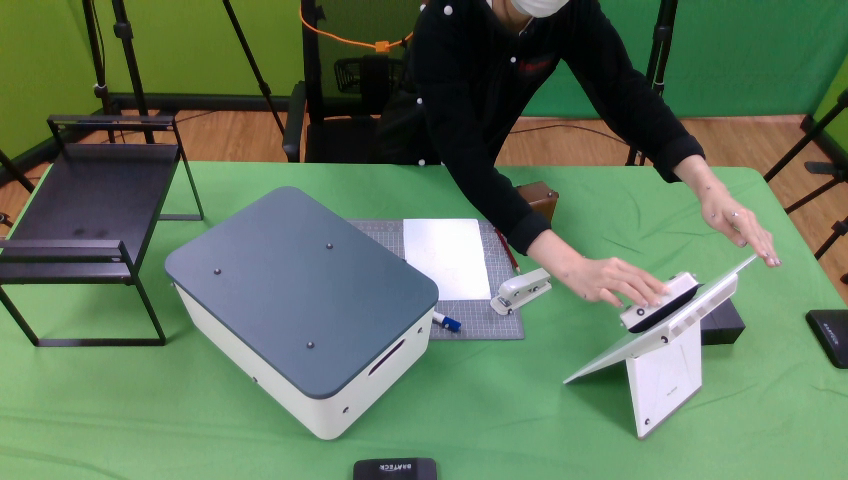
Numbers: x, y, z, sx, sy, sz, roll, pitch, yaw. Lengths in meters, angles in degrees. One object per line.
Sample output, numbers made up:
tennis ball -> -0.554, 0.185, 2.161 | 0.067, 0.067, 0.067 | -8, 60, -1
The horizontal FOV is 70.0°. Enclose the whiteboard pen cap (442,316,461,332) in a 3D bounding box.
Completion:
whiteboard pen cap -> 0.048, 0.146, 1.060 | 0.033, 0.018, 0.018 | 24, 50, 17

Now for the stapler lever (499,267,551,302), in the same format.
stapler lever -> 0.185, 0.076, 1.101 | 0.118, 0.040, 0.026 | -25, 57, -29

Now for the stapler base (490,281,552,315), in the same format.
stapler base -> 0.182, 0.094, 1.118 | 0.130, 0.024, 0.041 | -24, 57, -29

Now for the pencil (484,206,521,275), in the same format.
pencil -> 0.157, -0.002, 1.217 | 0.012, 0.012, 0.192 | -10, 48, -13

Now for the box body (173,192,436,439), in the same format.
box body -> -0.191, 0.110, 0.979 | 0.362, 0.161, 0.254 | 33, 53, 24

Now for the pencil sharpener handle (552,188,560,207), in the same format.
pencil sharpener handle -> 0.262, -0.084, 1.221 | 0.031, 0.068, 0.036 | -16, 64, -19

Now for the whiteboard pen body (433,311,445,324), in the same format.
whiteboard pen body -> -0.004, 0.123, 1.074 | 0.140, 0.017, 0.017 | 24, 49, 15

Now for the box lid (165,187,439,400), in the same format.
box lid -> -0.186, 0.060, 0.925 | 0.370, 0.015, 0.263 | 32, 53, 25

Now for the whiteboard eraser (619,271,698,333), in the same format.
whiteboard eraser -> 0.332, 0.088, 0.855 | 0.113, 0.056, 0.041 | -38, 77, 10

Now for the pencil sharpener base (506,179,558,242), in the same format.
pencil sharpener base -> 0.216, -0.059, 1.211 | 0.077, 0.107, 0.061 | -16, 49, -19

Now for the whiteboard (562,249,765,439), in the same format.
whiteboard -> 0.386, 0.176, 0.905 | 0.217, 0.306, 0.143 | -26, 72, -26
